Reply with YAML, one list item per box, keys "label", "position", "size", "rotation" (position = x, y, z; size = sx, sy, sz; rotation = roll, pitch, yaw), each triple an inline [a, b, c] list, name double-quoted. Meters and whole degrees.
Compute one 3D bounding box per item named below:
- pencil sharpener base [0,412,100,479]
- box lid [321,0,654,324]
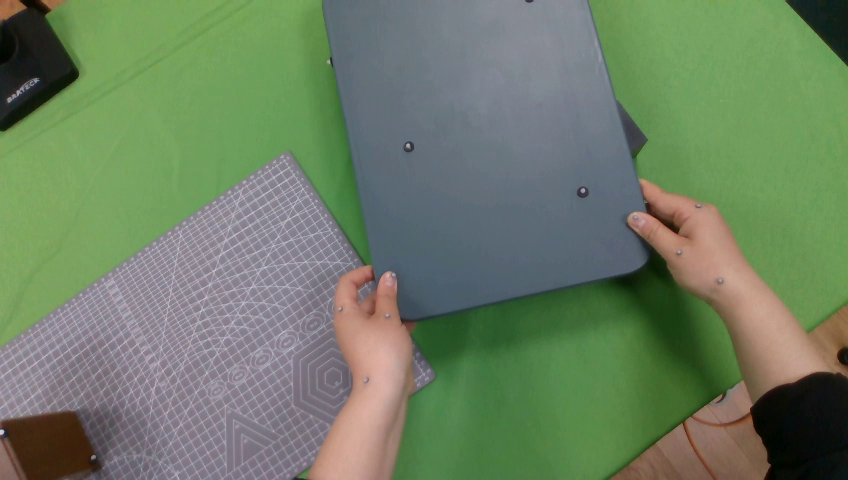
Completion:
- label: "pencil sharpener base"
  position: [-0.385, 0.219, 0.593]
  size: [0.061, 0.107, 0.076]
  rotation: [-34, 78, -1]
- label: "box lid"
  position: [0.052, -0.122, 0.594]
  size: [0.263, 0.015, 0.369]
  rotation: [-13, 79, 4]
